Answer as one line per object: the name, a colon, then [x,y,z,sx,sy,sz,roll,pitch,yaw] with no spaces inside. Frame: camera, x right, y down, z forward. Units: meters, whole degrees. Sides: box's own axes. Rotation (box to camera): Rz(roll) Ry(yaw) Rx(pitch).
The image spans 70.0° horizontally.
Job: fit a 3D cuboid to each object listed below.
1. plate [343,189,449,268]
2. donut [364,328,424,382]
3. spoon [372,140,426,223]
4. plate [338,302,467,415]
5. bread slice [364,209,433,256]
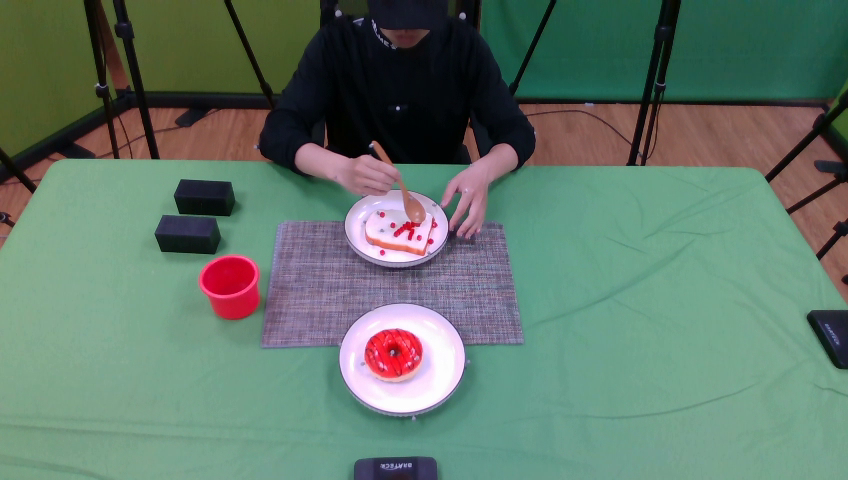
plate: [-0.055,-0.019,1.195,0.209,0.038,0.208,2,46,-2]
donut: [-0.049,0.185,0.984,0.099,0.048,0.098,1,45,-1]
spoon: [-0.046,-0.110,1.142,0.041,0.195,0.021,-45,37,-23]
plate: [-0.035,0.194,0.992,0.208,0.039,0.206,2,48,-2]
bread slice: [-0.054,-0.019,1.199,0.131,0.019,0.104,11,46,3]
